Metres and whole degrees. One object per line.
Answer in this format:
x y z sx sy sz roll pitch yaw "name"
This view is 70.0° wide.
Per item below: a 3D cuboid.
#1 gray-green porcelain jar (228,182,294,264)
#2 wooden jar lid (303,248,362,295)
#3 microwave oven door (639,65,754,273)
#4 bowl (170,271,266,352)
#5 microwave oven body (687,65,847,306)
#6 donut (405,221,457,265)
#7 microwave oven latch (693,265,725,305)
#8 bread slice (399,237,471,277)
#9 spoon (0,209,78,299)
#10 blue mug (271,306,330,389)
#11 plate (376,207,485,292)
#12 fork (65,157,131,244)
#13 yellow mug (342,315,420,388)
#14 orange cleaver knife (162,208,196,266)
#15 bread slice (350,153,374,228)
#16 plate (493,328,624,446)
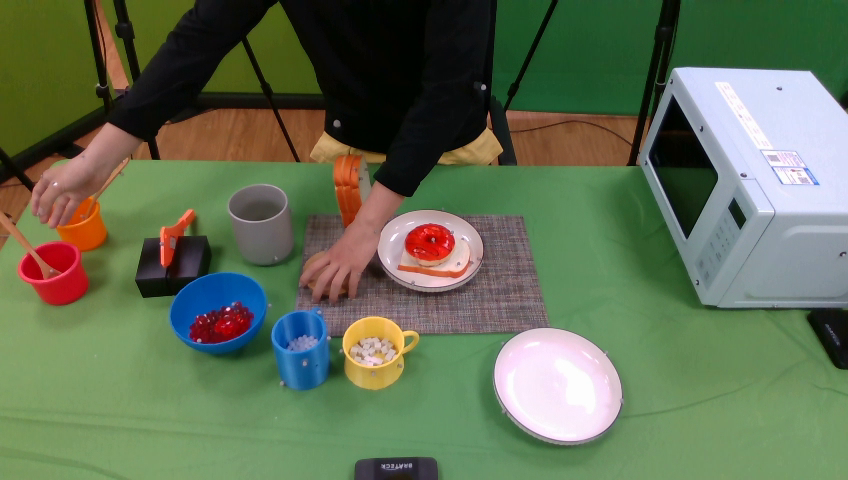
-0.298 -0.026 1.125 0.106 0.127 0.105 2 47 -2 "gray-green porcelain jar"
-0.169 0.061 1.122 0.108 0.021 0.107 2 46 -2 "wooden jar lid"
0.522 -0.147 1.192 0.039 0.245 0.353 0 47 -3 "microwave oven door"
-0.333 0.132 1.006 0.151 0.077 0.150 2 46 -2 "bowl"
0.669 -0.111 1.176 0.326 0.261 0.439 0 46 -3 "microwave oven body"
0.013 0.004 1.136 0.099 0.048 0.098 0 46 0 "donut"
0.522 0.081 1.115 0.030 0.029 0.078 2 46 -1 "microwave oven latch"
0.025 0.025 1.161 0.131 0.019 0.104 7 47 7 "bread slice"
-0.668 0.022 1.040 0.041 0.021 0.194 -41 105 -29 "spoon"
-0.188 0.163 0.969 0.082 0.106 0.116 15 47 10 "blue mug"
0.012 0.021 1.159 0.209 0.038 0.208 2 47 -2 "plate"
-0.609 -0.074 1.133 0.207 0.019 0.028 -52 50 10 "fork"
-0.068 0.177 0.991 0.131 0.064 0.099 -15 50 -19 "yellow mug"
-0.454 -0.010 1.129 0.012 0.077 0.210 -2 17 -6 "orange cleaver knife"
-0.124 -0.104 1.207 0.018 0.135 0.106 -1 48 7 "bread slice"
0.213 0.236 0.974 0.208 0.039 0.206 2 46 -2 "plate"
